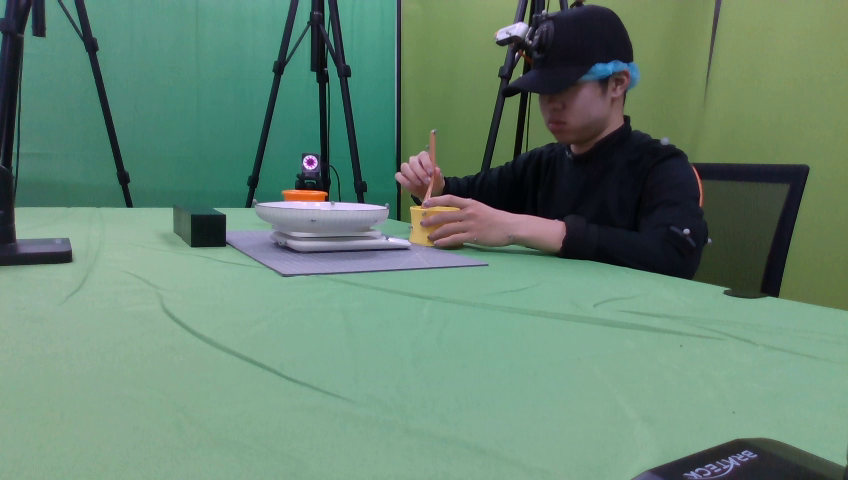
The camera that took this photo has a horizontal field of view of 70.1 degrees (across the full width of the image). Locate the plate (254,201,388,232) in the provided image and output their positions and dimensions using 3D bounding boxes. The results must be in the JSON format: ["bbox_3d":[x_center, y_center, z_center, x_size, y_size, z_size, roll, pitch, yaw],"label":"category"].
[{"bbox_3d":[-0.161,-0.037,0.961,0.209,0.038,0.209,2,6,0],"label":"plate"}]

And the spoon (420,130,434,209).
[{"bbox_3d":[0.008,-0.104,1.086,0.022,0.193,0.041,10,-10,-17],"label":"spoon"}]

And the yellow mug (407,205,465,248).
[{"bbox_3d":[0.026,-0.027,1.104,0.099,0.064,0.131,8,8,20],"label":"yellow mug"}]

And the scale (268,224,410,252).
[{"bbox_3d":[-0.137,-0.006,0.979,0.202,0.031,0.148,-1,8,-30],"label":"scale"}]
